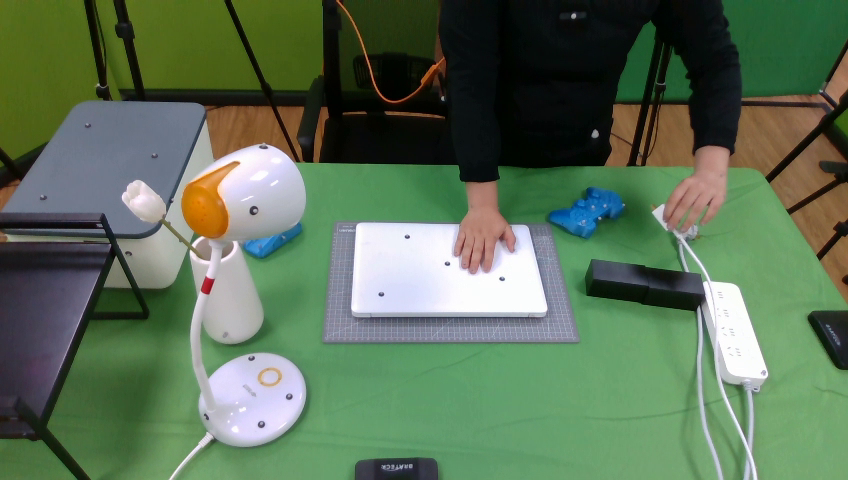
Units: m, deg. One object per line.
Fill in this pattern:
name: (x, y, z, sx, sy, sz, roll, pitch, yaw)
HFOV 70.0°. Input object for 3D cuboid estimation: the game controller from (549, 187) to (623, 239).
game controller: (0.345, -0.065, 1.272, 0.155, 0.052, 0.096, -31, 59, -29)

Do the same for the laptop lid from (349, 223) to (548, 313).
laptop lid: (0.041, 0.047, 1.143, 0.357, 0.013, 0.240, 2, 43, -3)

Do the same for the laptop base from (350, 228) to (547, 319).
laptop base: (0.041, 0.056, 1.149, 0.355, 0.023, 0.234, 0, 43, -4)

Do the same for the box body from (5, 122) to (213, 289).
box body: (-0.563, -0.087, 1.140, 0.254, 0.161, 0.361, 2, 46, -3)

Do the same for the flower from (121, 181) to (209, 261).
flower: (-0.329, 0.029, 0.905, 0.038, 0.364, 0.044, -23, 58, -1)

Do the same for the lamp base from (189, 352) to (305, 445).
lamp base: (-0.268, 0.197, 0.876, 0.160, 0.181, 0.179, 26, 52, 20)

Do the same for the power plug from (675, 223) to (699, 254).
power plug: (0.538, 0.000, 1.243, 0.053, 0.035, 0.072, 19, 81, -16)

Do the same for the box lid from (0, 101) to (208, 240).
box lid: (-0.559, -0.138, 1.085, 0.263, 0.015, 0.369, 2, 46, -2)

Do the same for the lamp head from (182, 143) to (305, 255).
lamp head: (-0.216, -0.044, 0.697, 0.112, 0.113, 0.123, 23, 31, 17)

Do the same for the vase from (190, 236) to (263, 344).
vase: (-0.317, 0.081, 0.971, 0.098, 0.201, 0.097, 3, 47, -3)

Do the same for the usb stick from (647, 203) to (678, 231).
usb stick: (0.432, -0.046, 1.102, 0.027, 0.021, 0.059, -36, 61, 0)

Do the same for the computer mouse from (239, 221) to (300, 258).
computer mouse: (-0.300, -0.016, 1.178, 0.062, 0.041, 0.117, 35, 57, 22)

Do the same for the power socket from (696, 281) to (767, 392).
power socket: (0.543, 0.161, 1.077, 0.072, 0.033, 0.225, 5, 46, 2)
